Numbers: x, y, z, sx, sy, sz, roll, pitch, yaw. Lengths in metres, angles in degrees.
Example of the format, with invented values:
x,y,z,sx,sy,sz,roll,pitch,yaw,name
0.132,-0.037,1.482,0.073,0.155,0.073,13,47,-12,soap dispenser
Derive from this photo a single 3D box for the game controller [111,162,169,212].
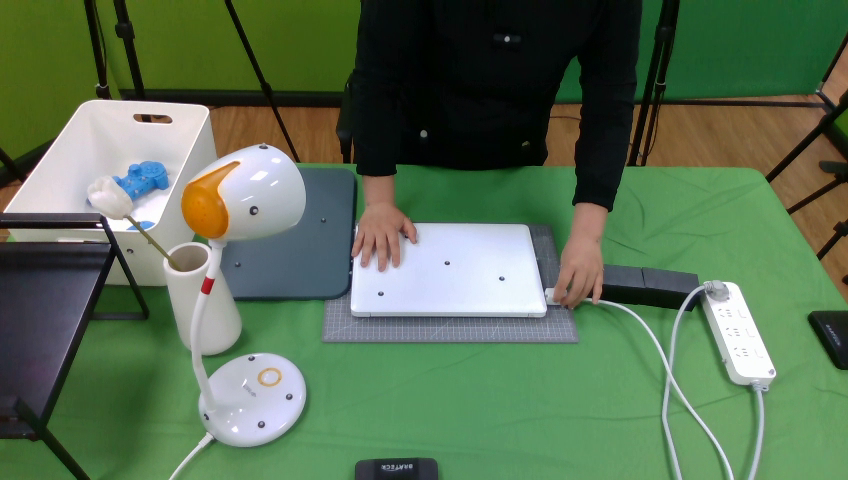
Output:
x,y,z,sx,sy,sz,roll,pitch,yaw,name
-0.597,-0.113,1.234,0.097,0.052,0.155,29,51,20,game controller

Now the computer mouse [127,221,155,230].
x,y,z,sx,sy,sz,roll,pitch,yaw,name
-0.537,0.009,1.127,0.062,0.041,0.117,31,55,21,computer mouse

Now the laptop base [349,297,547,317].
x,y,z,sx,sy,sz,roll,pitch,yaw,name
0.041,0.056,1.149,0.354,0.023,0.234,0,42,-4,laptop base

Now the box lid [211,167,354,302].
x,y,z,sx,sy,sz,roll,pitch,yaw,name
-0.277,-0.024,1.205,0.263,0.015,0.369,0,46,-4,box lid

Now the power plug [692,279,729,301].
x,y,z,sx,sy,sz,roll,pitch,yaw,name
0.522,0.091,1.115,0.072,0.053,0.035,11,47,8,power plug

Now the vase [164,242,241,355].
x,y,z,sx,sy,sz,roll,pitch,yaw,name
-0.349,0.096,0.954,0.098,0.201,0.097,3,47,-3,vase

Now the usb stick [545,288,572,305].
x,y,z,sx,sy,sz,roll,pitch,yaw,name
0.236,0.103,1.103,0.059,0.027,0.021,-2,44,-2,usb stick

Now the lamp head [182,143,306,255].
x,y,z,sx,sy,sz,roll,pitch,yaw,name
-0.215,-0.044,0.697,0.112,0.113,0.123,23,31,17,lamp head

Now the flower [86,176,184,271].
x,y,z,sx,sy,sz,roll,pitch,yaw,name
-0.364,0.038,0.894,0.038,0.364,0.044,-4,53,15,flower

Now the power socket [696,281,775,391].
x,y,z,sx,sy,sz,roll,pitch,yaw,name
0.550,0.161,1.078,0.072,0.033,0.225,2,46,-1,power socket

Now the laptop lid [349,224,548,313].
x,y,z,sx,sy,sz,roll,pitch,yaw,name
0.041,0.047,1.143,0.357,0.013,0.240,2,42,-3,laptop lid

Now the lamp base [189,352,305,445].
x,y,z,sx,sy,sz,roll,pitch,yaw,name
-0.268,0.197,0.876,0.160,0.181,0.179,26,52,20,lamp base

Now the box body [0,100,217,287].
x,y,z,sx,sy,sz,roll,pitch,yaw,name
-0.559,-0.092,1.144,0.254,0.161,0.361,3,46,-2,box body
